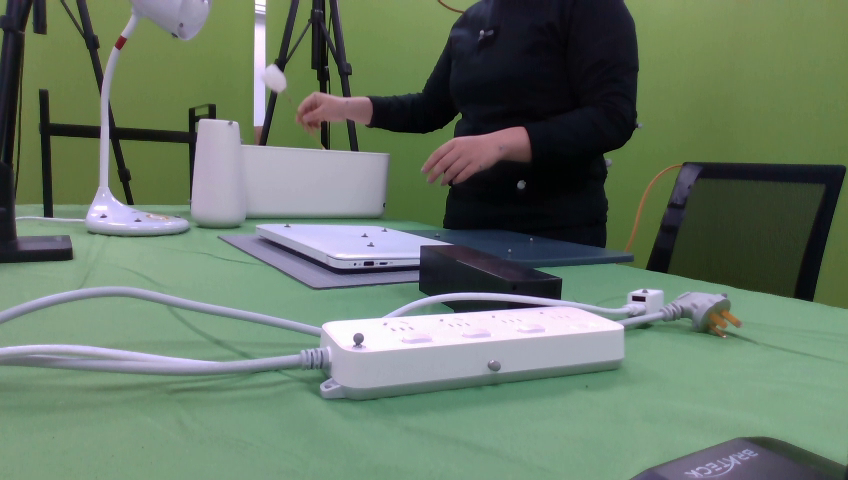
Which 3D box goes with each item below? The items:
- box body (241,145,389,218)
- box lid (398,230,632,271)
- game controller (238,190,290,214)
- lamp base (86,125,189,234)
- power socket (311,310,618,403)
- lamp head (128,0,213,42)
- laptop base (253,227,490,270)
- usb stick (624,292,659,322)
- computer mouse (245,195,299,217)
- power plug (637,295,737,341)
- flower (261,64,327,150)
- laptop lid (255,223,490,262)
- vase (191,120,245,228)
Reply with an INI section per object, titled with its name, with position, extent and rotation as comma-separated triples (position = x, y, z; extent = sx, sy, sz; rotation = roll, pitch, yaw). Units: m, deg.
[box body]
position = -0.297, -0.143, 1.474
extent = 0.366, 0.160, 0.253
rotation = -1, 9, -30
[box lid]
position = 0.140, 0.012, 1.045
extent = 0.265, 0.015, 0.369
rotation = -1, 9, -32
[game controller]
position = -0.391, -0.094, 1.465
extent = 0.097, 0.051, 0.154
rotation = -4, 9, -28
[lamp base]
position = -0.497, -0.105, 1.027
extent = 0.179, 0.180, 0.160
rotation = 1, 7, 2
[power socket]
position = 0.034, 0.074, 0.415
extent = 0.228, 0.032, 0.072
rotation = -1, 7, -24
[lamp head]
position = -0.423, -0.394, 0.980
extent = 0.123, 0.112, 0.112
rotation = 20, 7, -3
[laptop base]
position = -0.096, 0.012, 0.911
extent = 0.237, 0.023, 0.352
rotation = 3, 6, -32
[usb stick]
position = 0.211, 0.064, 0.580
extent = 0.021, 0.027, 0.059
rotation = -3, -5, 36
[computer mouse]
position = -0.344, -0.078, 1.368
extent = 0.118, 0.041, 0.062
rotation = -12, 16, -30
[power plug]
position = 0.235, 0.078, 0.536
extent = 0.072, 0.035, 0.052
rotation = -35, 40, -4
[flower]
position = -0.267, -0.257, 1.449
extent = 0.044, 0.363, 0.038
rotation = -29, 28, 10
[laptop lid]
position = -0.093, 0.000, 0.911
extent = 0.243, 0.013, 0.355
rotation = 1, 7, -30
[vase]
position = -0.389, -0.124, 1.142
extent = 0.098, 0.200, 0.098
rotation = 3, 9, 0
